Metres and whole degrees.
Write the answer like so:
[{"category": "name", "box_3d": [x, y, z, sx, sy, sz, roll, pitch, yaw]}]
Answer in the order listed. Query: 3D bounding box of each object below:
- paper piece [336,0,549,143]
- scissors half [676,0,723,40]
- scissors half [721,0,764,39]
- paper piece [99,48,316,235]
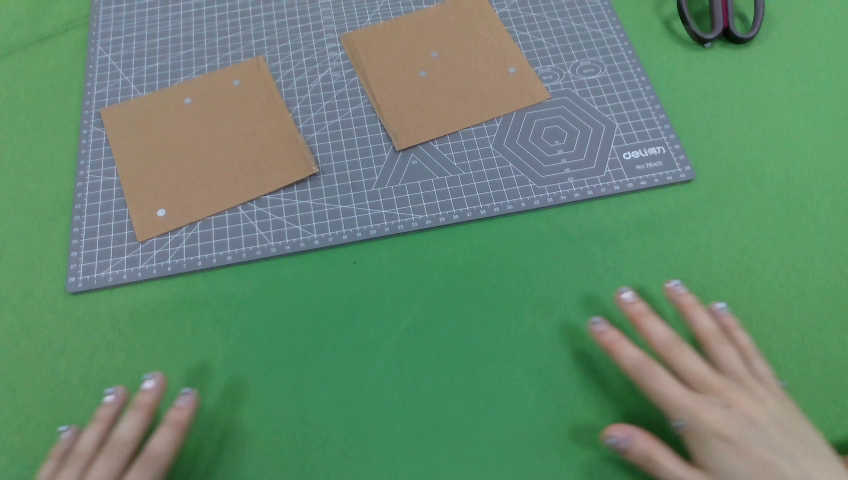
[{"category": "paper piece", "box_3d": [0.012, -0.151, 0.495, 0.136, 0.004, 0.134, -20, 65, -9]}, {"category": "scissors half", "box_3d": [0.236, -0.255, 0.512, 0.040, 0.013, 0.174, 7, 84, -7]}, {"category": "scissors half", "box_3d": [0.256, -0.256, 0.514, 0.040, 0.013, 0.175, -11, 86, -4]}, {"category": "paper piece", "box_3d": [-0.169, -0.083, 0.462, 0.138, 0.009, 0.134, -23, 60, -9]}]
